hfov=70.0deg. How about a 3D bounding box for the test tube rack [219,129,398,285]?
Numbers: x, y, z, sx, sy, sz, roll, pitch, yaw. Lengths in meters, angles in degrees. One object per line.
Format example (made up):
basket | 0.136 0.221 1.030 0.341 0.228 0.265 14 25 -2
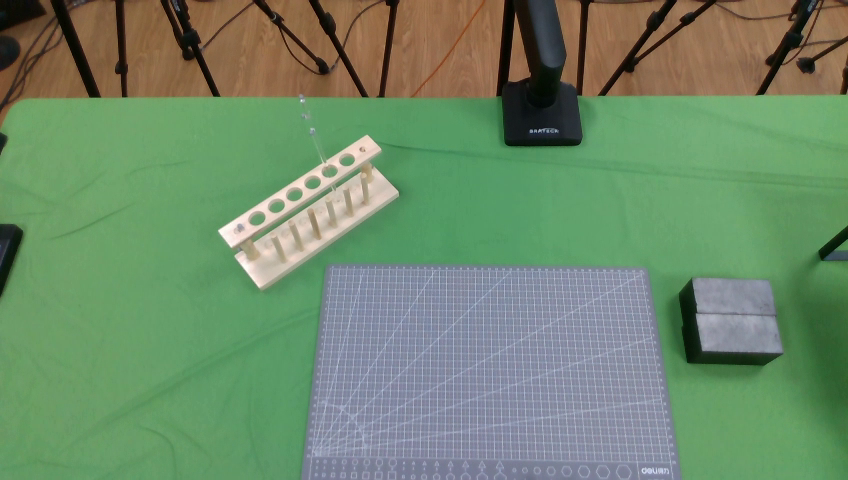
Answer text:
test tube rack | -0.152 -0.047 0.844 0.242 0.086 0.066 -37 67 -17

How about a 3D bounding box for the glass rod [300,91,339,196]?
glass rod | -0.137 -0.121 0.808 0.008 0.201 0.008 -3 56 5
